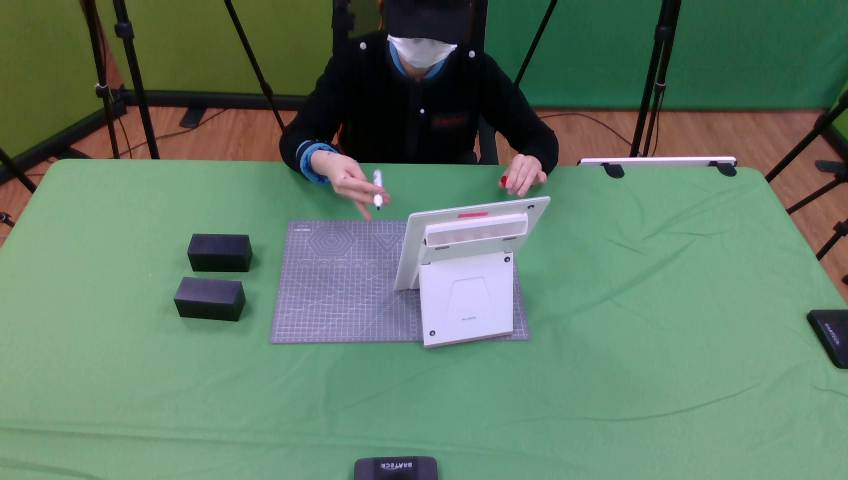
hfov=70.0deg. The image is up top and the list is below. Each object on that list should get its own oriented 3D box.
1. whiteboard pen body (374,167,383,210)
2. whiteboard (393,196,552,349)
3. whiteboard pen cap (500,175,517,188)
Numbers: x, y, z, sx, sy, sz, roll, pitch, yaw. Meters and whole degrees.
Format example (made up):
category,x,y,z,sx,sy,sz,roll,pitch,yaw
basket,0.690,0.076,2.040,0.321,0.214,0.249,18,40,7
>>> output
category,x,y,z,sx,sy,sz,roll,pitch,yaw
whiteboard pen body,-0.081,-0.091,1.076,0.017,0.017,0.139,0,36,-5
whiteboard,0.077,0.071,0.977,0.217,0.306,0.143,-7,66,-11
whiteboard pen cap,0.159,-0.111,1.139,0.032,0.017,0.017,19,36,-35
